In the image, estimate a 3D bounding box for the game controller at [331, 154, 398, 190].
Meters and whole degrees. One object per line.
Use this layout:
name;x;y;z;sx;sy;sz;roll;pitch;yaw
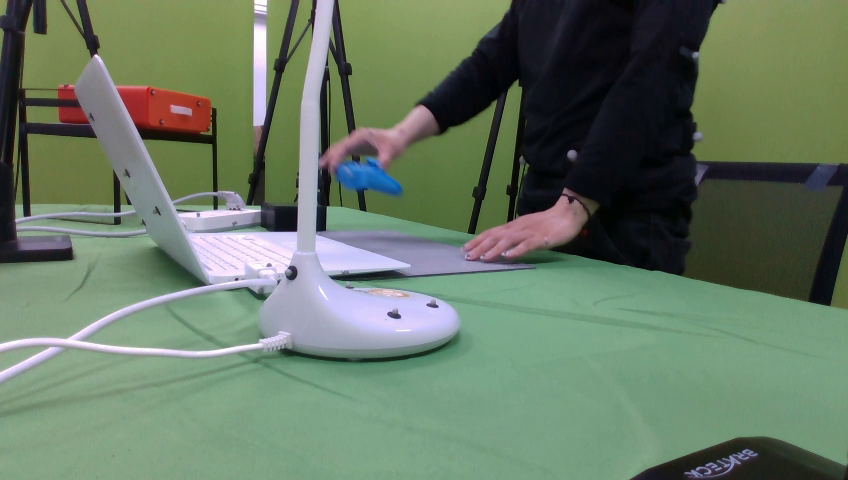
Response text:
game controller;-0.106;-0.121;1.042;0.097;0.051;0.154;0;12;-16

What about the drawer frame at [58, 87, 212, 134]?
drawer frame;-0.593;-0.268;1.260;0.213;0.082;0.202;4;8;14

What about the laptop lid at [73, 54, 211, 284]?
laptop lid;-0.341;-0.079;0.704;0.013;0.242;0.355;-30;23;-26

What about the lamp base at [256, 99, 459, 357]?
lamp base;-0.055;-0.013;0.463;0.160;0.180;0.180;6;11;27

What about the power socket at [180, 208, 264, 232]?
power socket;-0.381;-0.038;1.128;0.072;0.032;0.227;4;8;16

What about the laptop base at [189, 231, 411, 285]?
laptop base;-0.204;0.019;0.807;0.237;0.023;0.352;0;7;-33

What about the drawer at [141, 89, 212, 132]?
drawer;-0.588;-0.267;1.260;0.211;0.073;0.195;3;8;15

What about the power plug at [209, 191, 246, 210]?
power plug;-0.387;-0.071;1.204;0.072;0.052;0.035;4;8;26

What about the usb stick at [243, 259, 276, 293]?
usb stick;-0.166;0.035;0.604;0.021;0.027;0.059;-9;8;-28
